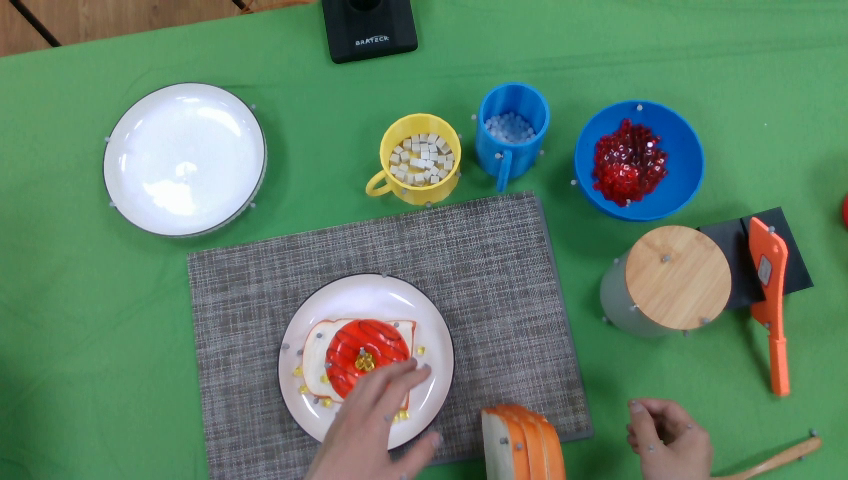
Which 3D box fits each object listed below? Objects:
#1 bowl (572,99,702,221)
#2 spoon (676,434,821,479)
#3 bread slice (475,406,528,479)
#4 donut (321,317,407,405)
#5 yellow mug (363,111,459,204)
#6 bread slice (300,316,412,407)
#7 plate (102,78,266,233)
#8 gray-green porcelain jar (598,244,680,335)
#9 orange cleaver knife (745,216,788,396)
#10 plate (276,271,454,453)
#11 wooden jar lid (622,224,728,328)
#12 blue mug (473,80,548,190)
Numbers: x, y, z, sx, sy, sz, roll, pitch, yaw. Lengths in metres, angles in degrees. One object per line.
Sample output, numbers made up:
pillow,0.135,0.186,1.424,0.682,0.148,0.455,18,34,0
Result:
bowl,0.251,-0.088,0.745,0.151,0.077,0.150,0,77,2
spoon,0.369,0.263,0.690,0.194,0.022,0.041,-21,59,-3
bread slice,0.081,0.232,0.647,0.018,0.134,0.106,-3,75,-10
donut,-0.067,0.137,0.689,0.099,0.048,0.098,0,79,-2
yellow mug,-0.019,-0.094,0.758,0.131,0.064,0.099,-31,78,-4
bread slice,-0.081,0.142,0.721,0.131,0.019,0.104,3,77,-2
plate,-0.304,-0.107,0.782,0.208,0.039,0.206,0,77,1
gray-green porcelain jar,0.260,0.053,0.688,0.106,0.127,0.105,0,77,1
orange cleaver knife,0.395,0.077,0.701,0.012,0.076,0.212,-13,107,-1
plate,-0.068,0.141,0.717,0.209,0.038,0.208,0,77,1
wooden jar lid,0.257,0.038,0.627,0.108,0.021,0.108,0,79,-1
blue mug,0.100,-0.118,0.741,0.082,0.106,0.116,10,77,4
